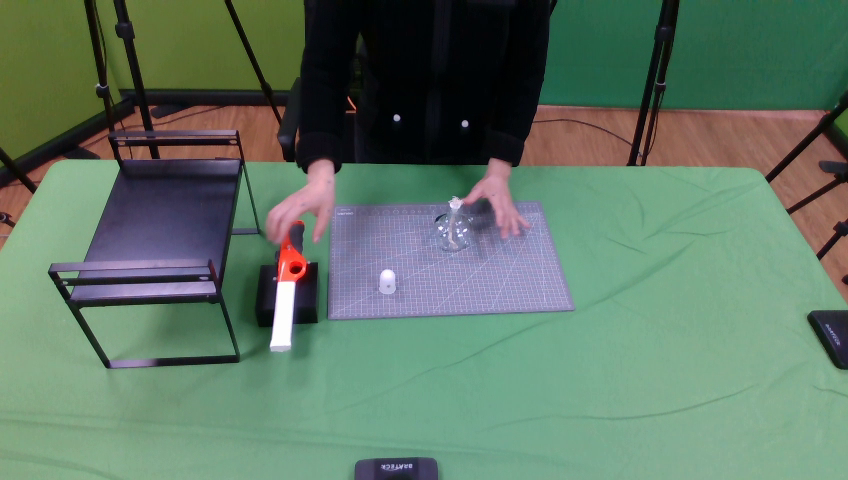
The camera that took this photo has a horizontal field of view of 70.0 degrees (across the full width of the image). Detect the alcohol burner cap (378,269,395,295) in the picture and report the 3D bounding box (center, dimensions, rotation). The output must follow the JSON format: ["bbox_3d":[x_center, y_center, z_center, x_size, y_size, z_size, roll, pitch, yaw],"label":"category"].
[{"bbox_3d":[-0.068,0.073,1.103,0.034,0.048,0.033,3,46,-2],"label":"alcohol burner cap"}]

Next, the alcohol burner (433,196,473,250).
[{"bbox_3d":[0.058,-0.038,1.169,0.078,0.119,0.077,3,45,-3],"label":"alcohol burner"}]

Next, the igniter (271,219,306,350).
[{"bbox_3d":[-0.235,0.067,1.047,0.057,0.025,0.274,0,49,-6],"label":"igniter"}]
